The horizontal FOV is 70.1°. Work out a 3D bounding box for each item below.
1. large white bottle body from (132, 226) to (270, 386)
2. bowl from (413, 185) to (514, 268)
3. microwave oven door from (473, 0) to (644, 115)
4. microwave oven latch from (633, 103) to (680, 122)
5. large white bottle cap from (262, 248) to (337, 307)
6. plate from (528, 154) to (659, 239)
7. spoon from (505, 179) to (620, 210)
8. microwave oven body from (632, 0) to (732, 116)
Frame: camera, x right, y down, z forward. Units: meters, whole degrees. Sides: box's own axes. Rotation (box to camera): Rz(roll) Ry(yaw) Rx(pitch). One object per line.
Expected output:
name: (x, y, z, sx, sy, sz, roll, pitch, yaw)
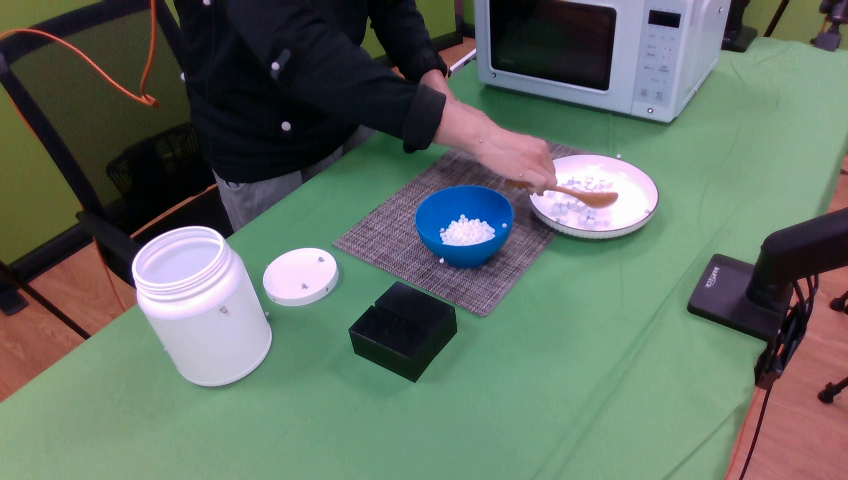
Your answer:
large white bottle body: (-0.286, 0.085, 0.784, 0.130, 0.185, 0.130, -4, 41, 4)
bowl: (0.063, -0.010, 0.922, 0.151, 0.077, 0.150, -4, 40, 4)
microwave oven door: (0.257, -0.396, 1.199, 0.353, 0.245, 0.039, 21, 48, 29)
microwave oven latch: (0.443, -0.249, 1.157, 0.078, 0.029, 0.030, 21, 49, 30)
large white bottle cap: (-0.193, 0.056, 0.933, 0.115, 0.018, 0.114, -5, 41, 4)
plate: (0.274, -0.069, 0.993, 0.209, 0.038, 0.208, -2, 42, 2)
spoon: (0.207, -0.070, 0.900, 0.195, 0.041, 0.021, 11, 62, -16)
microwave oven body: (0.377, -0.463, 1.267, 0.438, 0.261, 0.327, 21, 49, 30)
